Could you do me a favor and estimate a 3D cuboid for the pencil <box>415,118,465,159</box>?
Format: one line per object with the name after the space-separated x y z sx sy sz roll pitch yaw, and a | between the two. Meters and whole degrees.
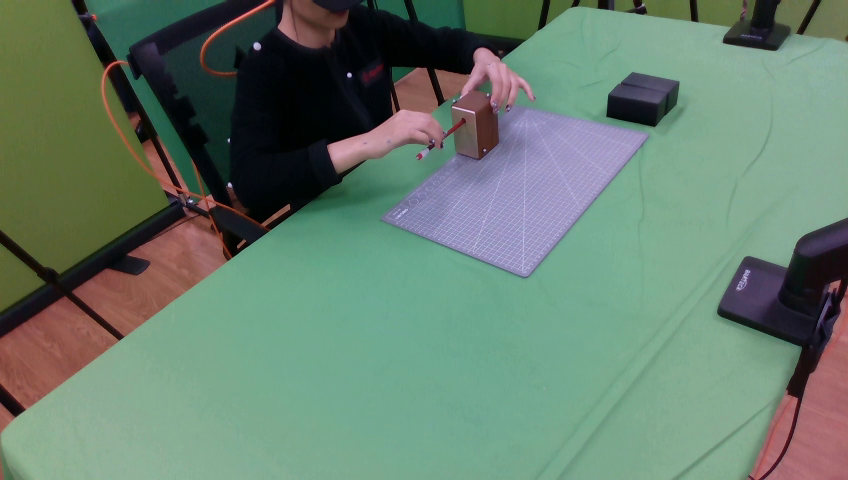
0.046 -0.197 1.094 0.012 0.012 0.194 23 49 32 | pencil

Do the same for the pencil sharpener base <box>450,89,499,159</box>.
0.100 -0.222 1.154 0.061 0.107 0.077 22 49 33 | pencil sharpener base

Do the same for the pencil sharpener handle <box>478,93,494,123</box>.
0.127 -0.262 1.176 0.036 0.068 0.031 30 53 23 | pencil sharpener handle
